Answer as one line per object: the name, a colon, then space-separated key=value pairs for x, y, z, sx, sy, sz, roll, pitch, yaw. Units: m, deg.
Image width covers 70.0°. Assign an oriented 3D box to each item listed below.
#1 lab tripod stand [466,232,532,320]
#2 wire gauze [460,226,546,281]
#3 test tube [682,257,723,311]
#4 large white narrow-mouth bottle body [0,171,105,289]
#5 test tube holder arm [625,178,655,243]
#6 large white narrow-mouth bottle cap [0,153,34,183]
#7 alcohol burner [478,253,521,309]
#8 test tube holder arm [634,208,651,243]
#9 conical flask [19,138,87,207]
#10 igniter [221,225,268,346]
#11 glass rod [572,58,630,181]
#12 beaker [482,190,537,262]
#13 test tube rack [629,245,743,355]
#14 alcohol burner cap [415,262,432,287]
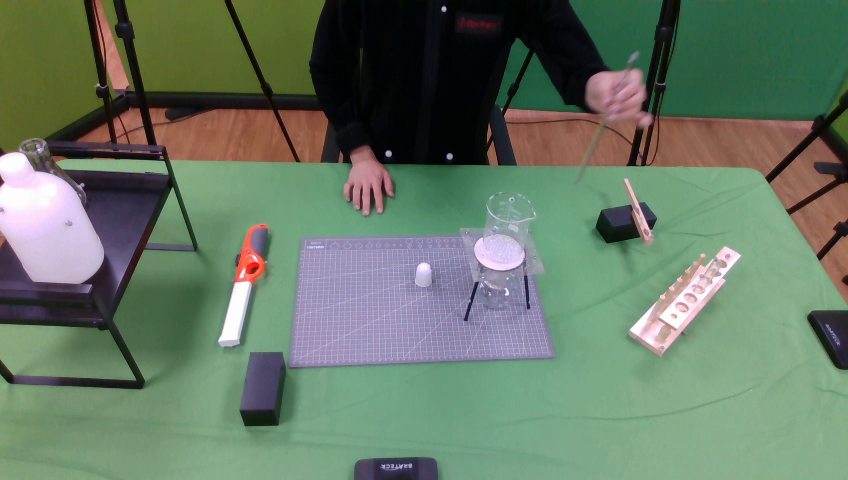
lab tripod stand: x=0.125 y=0.059 z=1.065 sx=0.148 sy=0.132 sz=0.147 roll=1 pitch=45 yaw=0
wire gauze: x=0.130 y=0.017 z=1.016 sx=0.121 sy=0.011 sz=0.124 roll=-4 pitch=43 yaw=-9
test tube: x=0.475 y=0.080 z=1.037 sx=0.017 sy=0.151 sz=0.017 roll=1 pitch=50 yaw=-1
large white narrow-mouth bottle body: x=-0.513 y=-0.029 z=0.818 sx=0.102 sy=0.195 sz=0.101 roll=2 pitch=46 yaw=-2
test tube holder arm: x=0.433 y=-0.062 z=1.220 sx=0.013 sy=0.015 sz=0.177 roll=1 pitch=47 yaw=-3
large white narrow-mouth bottle cap: x=-0.510 y=-0.090 z=0.754 sx=0.038 sy=0.024 sz=0.037 roll=2 pitch=46 yaw=-2
alcohol burner: x=0.134 y=0.067 z=1.072 sx=0.078 sy=0.120 sz=0.077 roll=0 pitch=47 yaw=0
test tube holder arm: x=0.428 y=-0.030 z=1.189 sx=0.010 sy=0.015 sz=0.087 roll=1 pitch=47 yaw=-2
conical flask: x=-0.576 y=-0.097 z=0.930 sx=0.075 sy=0.122 sz=0.075 roll=2 pitch=46 yaw=-2
igniter: x=-0.323 y=0.072 z=1.100 sx=0.057 sy=0.025 sz=0.274 roll=-6 pitch=45 yaw=5
glass rod: x=0.250 y=-0.165 z=0.863 sx=0.008 sy=0.200 sz=0.008 roll=9 pitch=40 yaw=-7
beaker: x=0.136 y=-0.019 z=0.983 sx=0.084 sy=0.101 sz=0.073 roll=17 pitch=47 yaw=14
test tube rack: x=0.474 y=0.095 z=1.091 sx=0.242 sy=0.085 sz=0.066 roll=-34 pitch=56 yaw=-31
alcohol burner cap: x=0.000 y=0.061 z=1.119 sx=0.034 sy=0.048 sz=0.033 roll=2 pitch=45 yaw=-2
